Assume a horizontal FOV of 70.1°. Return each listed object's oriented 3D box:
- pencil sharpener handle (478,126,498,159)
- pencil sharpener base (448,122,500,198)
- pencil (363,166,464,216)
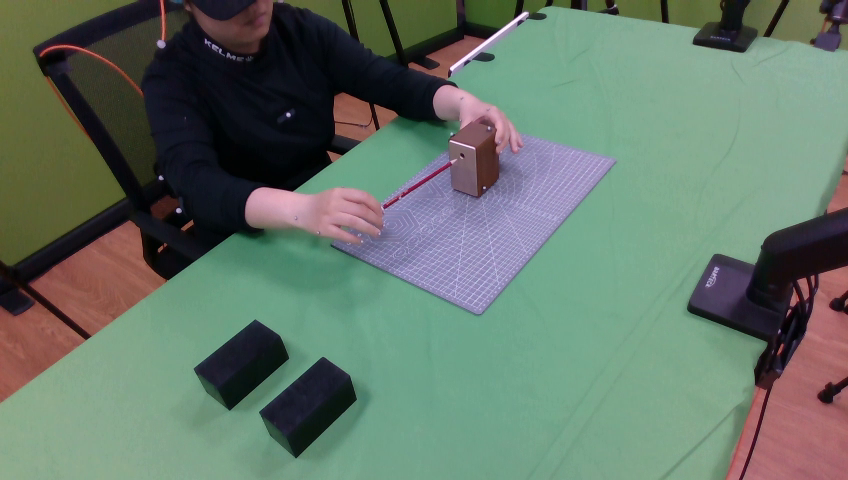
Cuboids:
[{"bbox_3d":[0.119,-0.178,1.074,0.035,0.068,0.031,22,48,30],"label":"pencil sharpener handle"},{"bbox_3d":[0.090,-0.140,1.052,0.061,0.107,0.077,22,48,31],"label":"pencil sharpener base"},{"bbox_3d":[-0.013,-0.082,0.963,0.195,0.012,0.012,-28,44,-24],"label":"pencil"}]
